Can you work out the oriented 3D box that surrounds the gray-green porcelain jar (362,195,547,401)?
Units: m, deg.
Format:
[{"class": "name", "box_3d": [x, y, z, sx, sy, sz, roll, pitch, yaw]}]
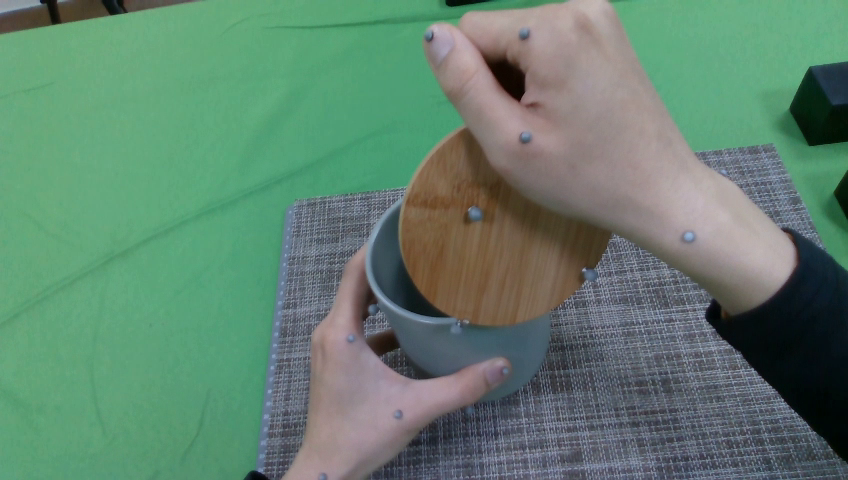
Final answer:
[{"class": "gray-green porcelain jar", "box_3d": [0.027, 0.039, 0.396, 0.106, 0.128, 0.105, -6, 53, 9]}]

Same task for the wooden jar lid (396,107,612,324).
[{"class": "wooden jar lid", "box_3d": [0.038, -0.011, 0.292, 0.108, 0.109, 0.020, -23, 29, -7]}]
